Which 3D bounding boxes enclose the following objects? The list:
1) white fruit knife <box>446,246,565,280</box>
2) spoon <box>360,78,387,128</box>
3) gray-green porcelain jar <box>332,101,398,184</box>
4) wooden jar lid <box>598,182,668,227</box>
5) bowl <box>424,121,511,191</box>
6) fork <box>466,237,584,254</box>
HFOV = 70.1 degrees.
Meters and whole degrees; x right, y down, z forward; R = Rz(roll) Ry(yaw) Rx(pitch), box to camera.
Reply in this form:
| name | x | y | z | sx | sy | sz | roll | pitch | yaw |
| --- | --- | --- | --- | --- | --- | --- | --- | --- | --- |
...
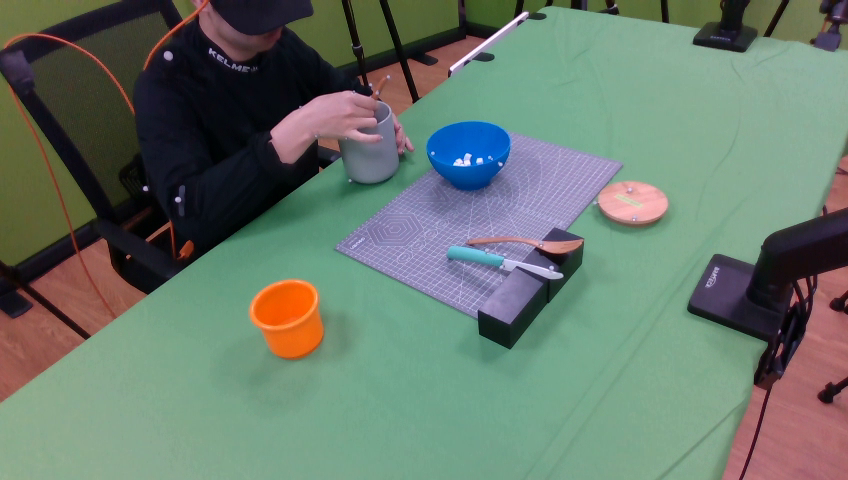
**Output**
| name | x | y | z | sx | sy | sz | roll | pitch | yaw |
| --- | --- | --- | --- | --- | --- | --- | --- | --- | --- |
| white fruit knife | 0.111 | 0.033 | 0.868 | 0.205 | 0.027 | 0.016 | 11 | 44 | 40 |
| spoon | -0.098 | -0.221 | 1.065 | 0.042 | 0.193 | 0.021 | -22 | 70 | -28 |
| gray-green porcelain jar | -0.105 | -0.174 | 1.109 | 0.106 | 0.127 | 0.105 | -4 | 40 | 4 |
| wooden jar lid | 0.340 | -0.057 | 0.989 | 0.108 | 0.021 | 0.108 | -5 | 41 | 5 |
| bowl | 0.080 | -0.140 | 1.074 | 0.151 | 0.077 | 0.150 | -4 | 40 | 4 |
| fork | 0.142 | 0.005 | 0.894 | 0.205 | 0.019 | 0.028 | 4 | 43 | 41 |
